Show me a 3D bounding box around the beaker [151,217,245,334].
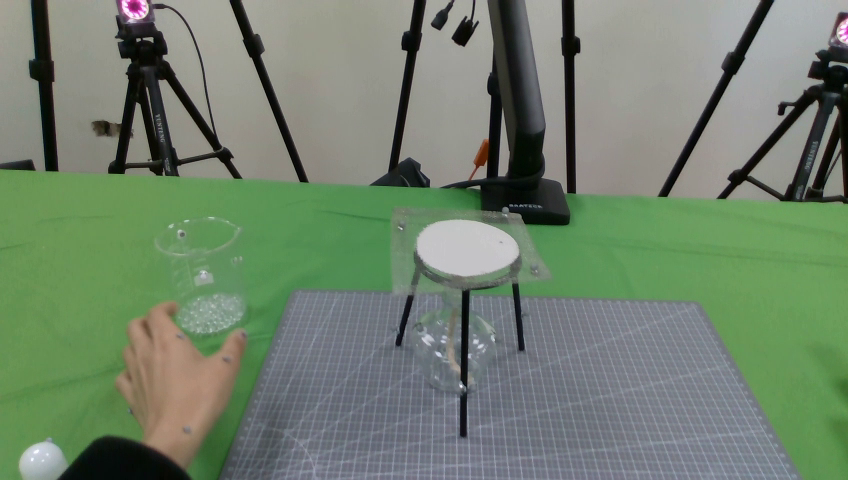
[{"bbox_3d":[-0.218,0.036,0.606,0.084,0.101,0.073,-21,38,-33],"label":"beaker"}]

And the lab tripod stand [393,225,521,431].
[{"bbox_3d":[0.034,0.067,0.527,0.148,0.132,0.147,2,32,-1],"label":"lab tripod stand"}]

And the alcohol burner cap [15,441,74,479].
[{"bbox_3d":[-0.278,0.167,0.439,0.034,0.048,0.033,2,29,-1],"label":"alcohol burner cap"}]

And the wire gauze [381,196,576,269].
[{"bbox_3d":[0.041,-0.007,0.487,0.125,0.011,0.120,-5,27,-24],"label":"wire gauze"}]

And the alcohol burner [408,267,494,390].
[{"bbox_3d":[0.025,0.074,0.535,0.078,0.120,0.077,3,31,-1],"label":"alcohol burner"}]
